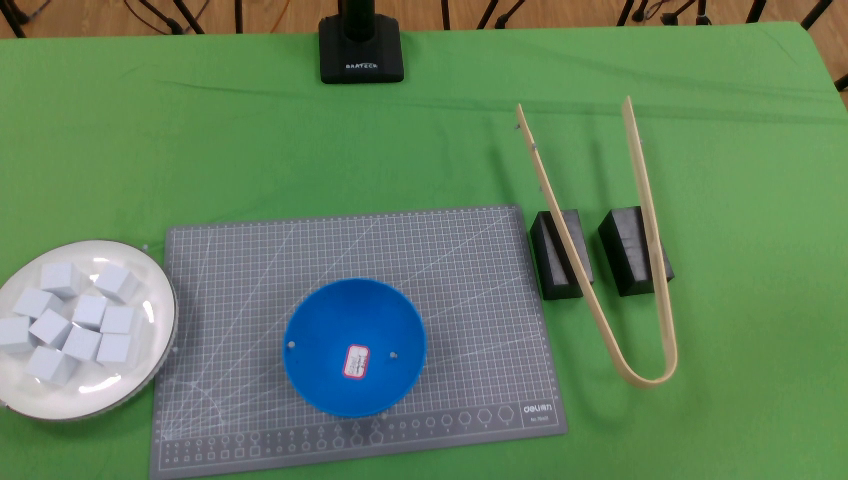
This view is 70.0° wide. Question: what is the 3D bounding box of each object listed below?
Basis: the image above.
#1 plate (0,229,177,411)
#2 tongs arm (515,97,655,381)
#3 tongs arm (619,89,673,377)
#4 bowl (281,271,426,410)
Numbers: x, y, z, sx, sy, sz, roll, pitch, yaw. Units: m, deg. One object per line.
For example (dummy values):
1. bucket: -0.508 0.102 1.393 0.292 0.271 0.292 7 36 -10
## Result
1. plate: -0.379 0.088 0.675 0.208 0.039 0.206 2 65 -3
2. tongs arm: 0.184 -0.017 0.728 0.051 0.027 0.381 -9 65 -9
3. tongs arm: 0.263 -0.024 0.737 0.028 0.028 0.384 5 64 -7
4. bowl: -0.076 0.117 0.664 0.151 0.077 0.150 2 64 -4
